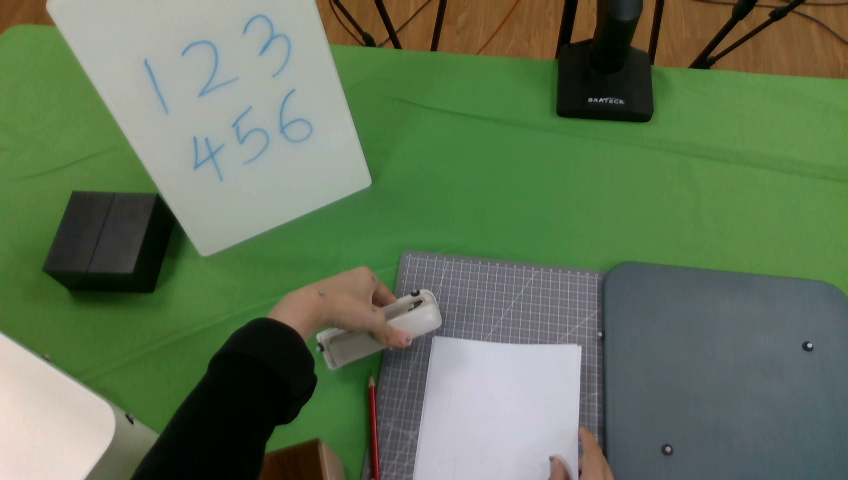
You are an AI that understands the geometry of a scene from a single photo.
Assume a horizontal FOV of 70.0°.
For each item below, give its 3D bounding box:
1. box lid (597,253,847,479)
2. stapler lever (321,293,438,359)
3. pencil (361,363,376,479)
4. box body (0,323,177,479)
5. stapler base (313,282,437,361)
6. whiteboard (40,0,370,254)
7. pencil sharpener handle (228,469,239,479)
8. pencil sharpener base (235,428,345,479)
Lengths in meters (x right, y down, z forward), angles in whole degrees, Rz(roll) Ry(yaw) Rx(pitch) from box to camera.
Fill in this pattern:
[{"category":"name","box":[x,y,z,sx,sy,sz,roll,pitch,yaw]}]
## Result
[{"category":"box lid","box":[0.302,0.185,0.587,0.263,0.015,0.368,6,63,4]},{"category":"stapler lever","box":[-0.041,0.085,0.599,0.118,0.040,0.027,-22,95,-13]},{"category":"pencil","box":[-0.051,0.211,0.583,0.012,0.012,0.192,-7,62,-2]},{"category":"box body","box":[-0.439,0.188,0.522,0.362,0.161,0.253,25,66,14]},{"category":"stapler base","box":[-0.046,0.083,0.622,0.131,0.024,0.041,-22,96,-13]},{"category":"whiteboard","box":[-0.216,-0.176,0.659,0.217,0.308,0.142,-24,45,-10]},{"category":"pencil sharpener handle","box":[-0.163,0.222,0.513,0.031,0.068,0.035,-14,47,-5]},{"category":"pencil sharpener base","box":[-0.114,0.212,0.531,0.077,0.108,0.061,-14,63,-5]}]
